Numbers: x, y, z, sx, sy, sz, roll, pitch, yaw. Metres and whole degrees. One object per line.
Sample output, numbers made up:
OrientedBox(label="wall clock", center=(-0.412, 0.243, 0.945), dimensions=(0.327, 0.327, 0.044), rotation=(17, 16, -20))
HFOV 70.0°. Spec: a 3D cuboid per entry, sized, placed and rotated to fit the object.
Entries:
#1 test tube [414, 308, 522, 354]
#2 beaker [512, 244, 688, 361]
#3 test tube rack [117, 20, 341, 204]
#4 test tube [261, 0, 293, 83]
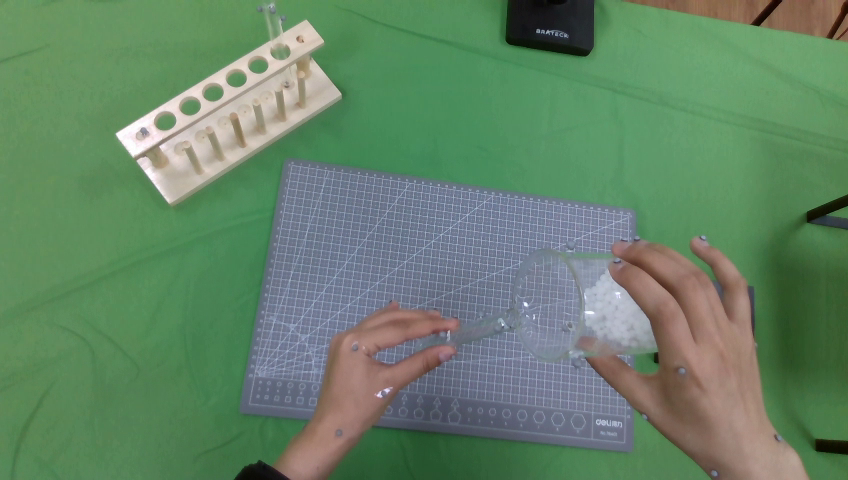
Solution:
OrientedBox(label="test tube", center=(0.029, 0.076, 0.491), dimensions=(0.017, 0.150, 0.017), rotation=(10, 69, -26))
OrientedBox(label="beaker", center=(0.121, 0.043, 0.417), dimensions=(0.101, 0.084, 0.073), rotation=(1, 69, -26))
OrientedBox(label="test tube rack", center=(-0.212, -0.146, 0.696), dimensions=(0.242, 0.085, 0.066), rotation=(-37, 83, -16))
OrientedBox(label="test tube", center=(-0.160, -0.218, 0.670), dimensions=(0.017, 0.151, 0.017), rotation=(2, 73, -5))
